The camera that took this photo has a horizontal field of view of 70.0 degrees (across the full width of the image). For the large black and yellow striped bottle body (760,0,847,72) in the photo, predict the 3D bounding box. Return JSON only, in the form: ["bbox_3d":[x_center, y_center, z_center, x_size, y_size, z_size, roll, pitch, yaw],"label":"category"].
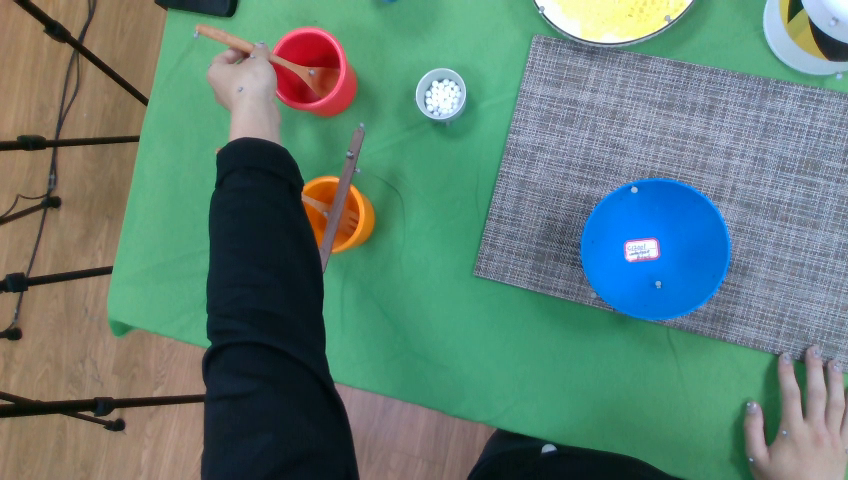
[{"bbox_3d":[0.428,-0.253,0.593,0.130,0.184,0.130,0,89,11],"label":"large black and yellow striped bottle body"}]

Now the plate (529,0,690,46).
[{"bbox_3d":[0.217,-0.326,0.706,0.209,0.038,0.209,0,90,10],"label":"plate"}]

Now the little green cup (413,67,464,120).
[{"bbox_3d":[0.020,-0.176,0.740,0.061,0.039,0.061,0,89,12],"label":"little green cup"}]

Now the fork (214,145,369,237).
[{"bbox_3d":[-0.151,-0.056,0.714,0.209,0.018,0.028,30,99,-34],"label":"fork"}]

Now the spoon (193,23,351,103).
[{"bbox_3d":[-0.175,-0.214,0.721,0.195,0.021,0.041,18,92,-35],"label":"spoon"}]

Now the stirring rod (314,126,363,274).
[{"bbox_3d":[-0.099,-0.046,0.701,0.014,0.006,0.176,16,92,12],"label":"stirring rod"}]

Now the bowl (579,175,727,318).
[{"bbox_3d":[0.246,0.008,0.673,0.151,0.077,0.151,0,90,11],"label":"bowl"}]
